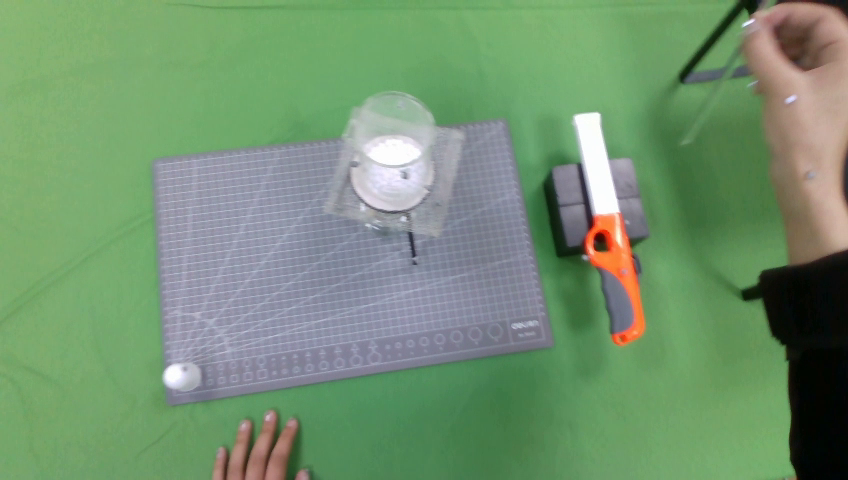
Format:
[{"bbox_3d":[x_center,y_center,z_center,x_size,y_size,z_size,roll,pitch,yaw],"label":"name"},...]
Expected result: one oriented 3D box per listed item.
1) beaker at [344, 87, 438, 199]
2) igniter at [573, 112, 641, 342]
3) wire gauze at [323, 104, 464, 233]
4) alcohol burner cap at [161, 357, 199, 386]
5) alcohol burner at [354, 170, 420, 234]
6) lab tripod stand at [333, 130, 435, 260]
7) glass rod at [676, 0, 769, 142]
[{"bbox_3d":[-0.030,-0.086,0.578,0.084,0.101,0.073,-8,74,-5],"label":"beaker"},{"bbox_3d":[0.211,-0.020,0.704,0.057,0.025,0.275,-5,75,-2],"label":"igniter"},{"bbox_3d":[-0.029,-0.075,0.625,0.121,0.011,0.124,15,72,-2],"label":"wire gauze"},{"bbox_3d":[-0.272,0.144,0.669,0.034,0.048,0.033,1,75,-4],"label":"alcohol burner cap"},{"bbox_3d":[-0.042,-0.048,0.695,0.078,0.119,0.077,1,77,-2],"label":"alcohol burner"},{"bbox_3d":[-0.036,-0.060,0.689,0.148,0.132,0.147,1,73,-3],"label":"lab tripod stand"},{"bbox_3d":[0.229,-0.146,0.436,0.008,0.201,0.008,5,51,-5],"label":"glass rod"}]
